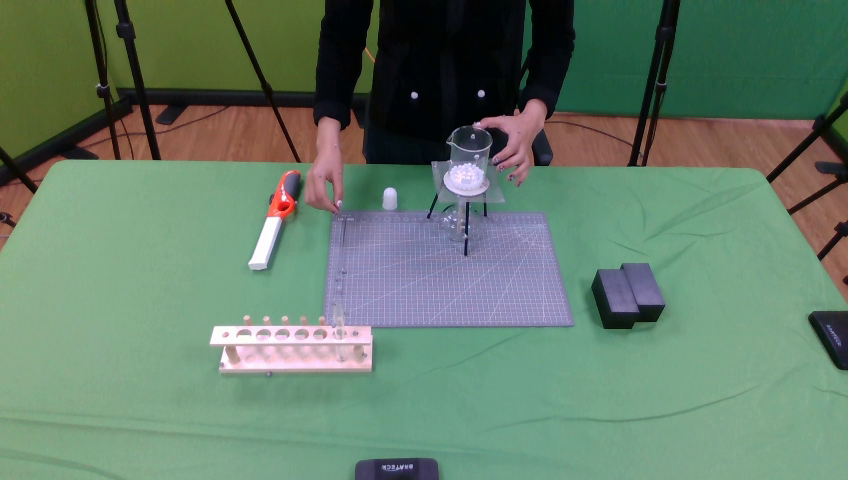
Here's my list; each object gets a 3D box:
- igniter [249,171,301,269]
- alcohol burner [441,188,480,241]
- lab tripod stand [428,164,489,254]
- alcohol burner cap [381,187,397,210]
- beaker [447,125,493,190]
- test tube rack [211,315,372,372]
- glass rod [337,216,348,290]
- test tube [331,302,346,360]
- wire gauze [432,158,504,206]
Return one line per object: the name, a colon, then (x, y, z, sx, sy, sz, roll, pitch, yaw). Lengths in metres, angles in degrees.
igniter: (-0.297, -0.049, 1.221, 0.057, 0.025, 0.275, -2, 45, 9)
alcohol burner: (0.073, -0.055, 1.189, 0.078, 0.120, 0.077, 1, 47, -1)
lab tripod stand: (0.078, -0.068, 1.188, 0.148, 0.132, 0.147, 3, 47, -3)
alcohol burner cap: (-0.072, -0.090, 1.266, 0.034, 0.048, 0.033, 3, 47, -3)
beaker: (0.079, -0.148, 1.106, 0.084, 0.101, 0.073, -3, 47, -7)
test tube rack: (-0.208, 0.163, 0.982, 0.242, 0.085, 0.066, 1, 46, -4)
glass rod: (-0.158, 0.021, 1.171, 0.008, 0.008, 0.198, 1, 44, -2)
test tube: (-0.132, 0.144, 0.938, 0.017, 0.151, 0.017, 2, 49, -3)
wire gauze: (0.081, -0.111, 1.138, 0.125, 0.011, 0.120, 0, 48, -7)
